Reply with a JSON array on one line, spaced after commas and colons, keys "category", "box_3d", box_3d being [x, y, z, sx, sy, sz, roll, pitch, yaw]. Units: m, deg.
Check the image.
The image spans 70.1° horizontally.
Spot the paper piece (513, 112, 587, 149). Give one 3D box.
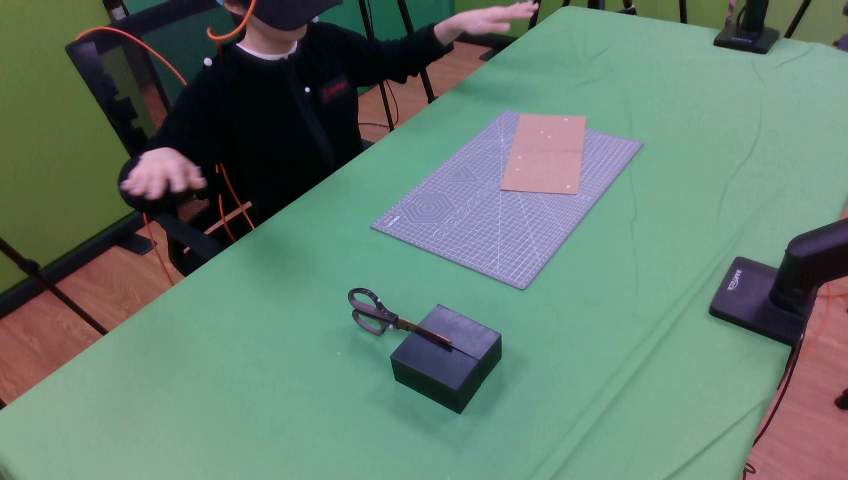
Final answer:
[{"category": "paper piece", "box_3d": [0.252, -0.215, 1.196, 0.135, 0.004, 0.135, 6, 42, 14]}]

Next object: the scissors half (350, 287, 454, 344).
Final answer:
[{"category": "scissors half", "box_3d": [-0.032, 0.101, 0.796, 0.174, 0.040, 0.013, 23, 39, 29]}]

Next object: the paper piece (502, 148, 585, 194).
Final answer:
[{"category": "paper piece", "box_3d": [0.219, -0.128, 1.101, 0.135, 0.009, 0.138, 2, 42, 17]}]

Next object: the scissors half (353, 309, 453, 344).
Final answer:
[{"category": "scissors half", "box_3d": [-0.030, 0.119, 0.806, 0.174, 0.040, 0.013, 6, 35, 40]}]
